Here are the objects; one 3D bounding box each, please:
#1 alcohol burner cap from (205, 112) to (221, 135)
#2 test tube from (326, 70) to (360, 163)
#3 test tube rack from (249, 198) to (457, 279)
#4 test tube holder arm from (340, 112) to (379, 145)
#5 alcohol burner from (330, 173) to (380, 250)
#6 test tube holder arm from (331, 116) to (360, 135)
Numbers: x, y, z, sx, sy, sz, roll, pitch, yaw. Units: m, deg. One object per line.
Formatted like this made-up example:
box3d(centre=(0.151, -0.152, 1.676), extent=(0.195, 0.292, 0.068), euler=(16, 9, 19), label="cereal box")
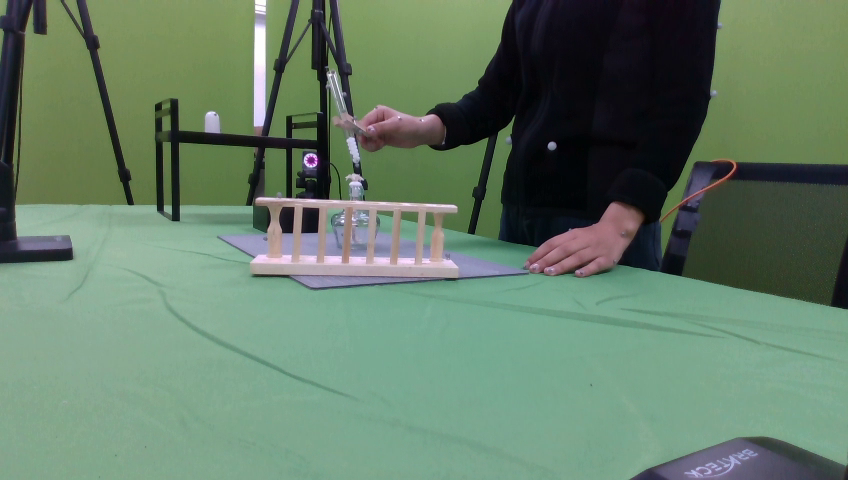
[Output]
box3d(centre=(-0.443, -0.245, 1.270), extent=(0.034, 0.048, 0.034), euler=(3, 8, 0), label="alcohol burner cap")
box3d(centre=(-0.125, -0.191, 0.936), extent=(0.017, 0.150, 0.017), euler=(-16, -5, -1), label="test tube")
box3d(centre=(-0.082, -0.002, 0.732), extent=(0.243, 0.085, 0.066), euler=(2, 8, -7), label="test tube rack")
box3d(centre=(-0.103, -0.182, 1.000), extent=(0.013, 0.015, 0.179), euler=(-19, -6, 12), label="test tube holder arm")
box3d(centre=(-0.107, -0.044, 0.938), extent=(0.078, 0.119, 0.078), euler=(1, 6, 0), label="alcohol burner")
box3d(centre=(-0.121, -0.181, 0.958), extent=(0.010, 0.015, 0.088), euler=(-20, -7, 20), label="test tube holder arm")
